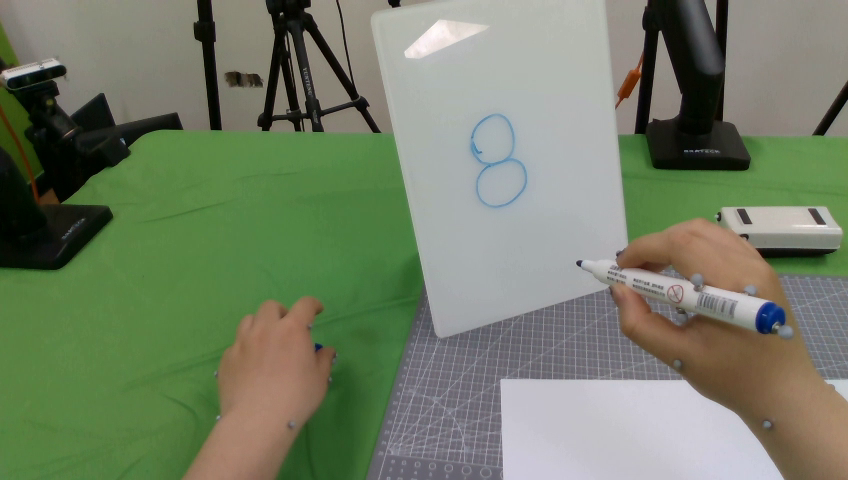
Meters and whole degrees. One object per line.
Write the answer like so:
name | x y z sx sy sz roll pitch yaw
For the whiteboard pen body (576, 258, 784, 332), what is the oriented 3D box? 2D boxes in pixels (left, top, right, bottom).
whiteboard pen body | 0.130 0.025 0.335 0.017 0.017 0.139 -22 18 -21

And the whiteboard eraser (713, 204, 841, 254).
whiteboard eraser | 0.377 -0.012 0.652 0.112 0.042 0.055 1 40 8

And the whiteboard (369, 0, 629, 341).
whiteboard | 0.069 -0.089 0.625 0.217 0.307 0.143 -15 18 -11

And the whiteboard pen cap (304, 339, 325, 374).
whiteboard pen cap | -0.101 0.108 0.561 0.018 0.033 0.018 -1 37 1
